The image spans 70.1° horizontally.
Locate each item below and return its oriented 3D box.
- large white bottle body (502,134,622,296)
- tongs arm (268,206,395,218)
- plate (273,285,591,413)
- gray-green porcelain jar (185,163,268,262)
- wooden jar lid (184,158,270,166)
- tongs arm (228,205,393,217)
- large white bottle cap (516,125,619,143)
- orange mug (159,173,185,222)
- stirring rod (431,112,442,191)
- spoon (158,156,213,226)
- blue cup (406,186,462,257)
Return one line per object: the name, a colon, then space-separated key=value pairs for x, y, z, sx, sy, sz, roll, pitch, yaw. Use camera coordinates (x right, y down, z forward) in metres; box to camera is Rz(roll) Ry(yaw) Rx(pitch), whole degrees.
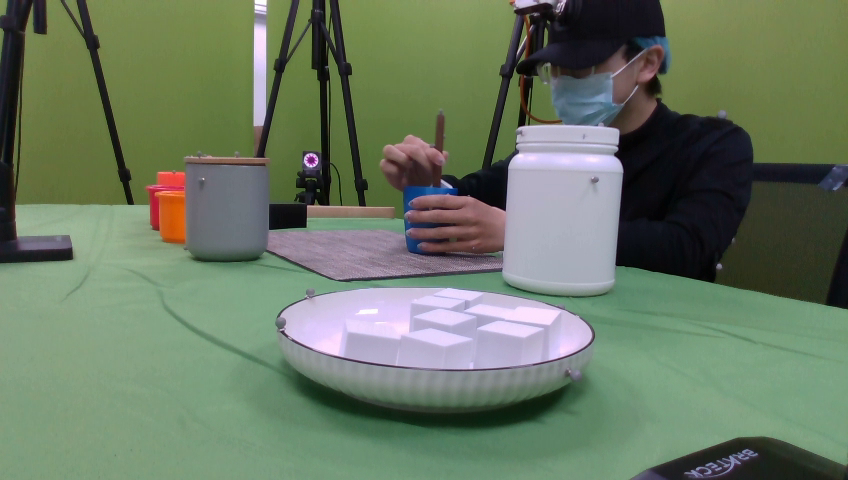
large white bottle body: x=0.160 y=-0.037 z=0.706 sx=0.131 sy=0.184 sz=0.130 roll=2 pitch=7 yaw=0
tongs arm: x=-0.230 y=-0.064 z=1.379 sx=0.387 sy=0.026 sz=0.050 roll=-1 pitch=3 yaw=-31
plate: x=0.005 y=0.069 z=0.407 sx=0.208 sy=0.039 sz=0.207 roll=2 pitch=7 yaw=0
gray-green porcelain jar: x=-0.263 y=-0.038 z=0.808 sx=0.106 sy=0.126 sz=0.106 roll=3 pitch=8 yaw=0
wooden jar lid: x=-0.260 y=-0.099 z=0.801 sx=0.108 sy=0.020 sz=0.108 roll=0 pitch=9 yaw=0
tongs arm: x=-0.267 y=-0.070 z=1.453 sx=0.389 sy=0.027 sz=0.028 roll=0 pitch=-1 yaw=-18
large white bottle cap: x=0.164 y=-0.120 z=0.695 sx=0.115 sy=0.018 sz=0.115 roll=2 pitch=7 yaw=0
orange mug: x=-0.477 y=-0.089 z=1.241 sx=0.127 sy=0.101 sz=0.083 roll=-7 pitch=12 yaw=-33
stirring rod: x=0.017 y=-0.100 z=0.895 sx=0.014 sy=0.176 sz=0.006 roll=8 pitch=10 yaw=35
spoon: x=-0.435 y=-0.094 z=1.121 sx=0.041 sy=0.022 sz=0.193 roll=5 pitch=51 yaw=13
blue cup: x=0.012 y=-0.028 z=0.922 sx=0.093 sy=0.100 sz=0.092 roll=4 pitch=9 yaw=0
